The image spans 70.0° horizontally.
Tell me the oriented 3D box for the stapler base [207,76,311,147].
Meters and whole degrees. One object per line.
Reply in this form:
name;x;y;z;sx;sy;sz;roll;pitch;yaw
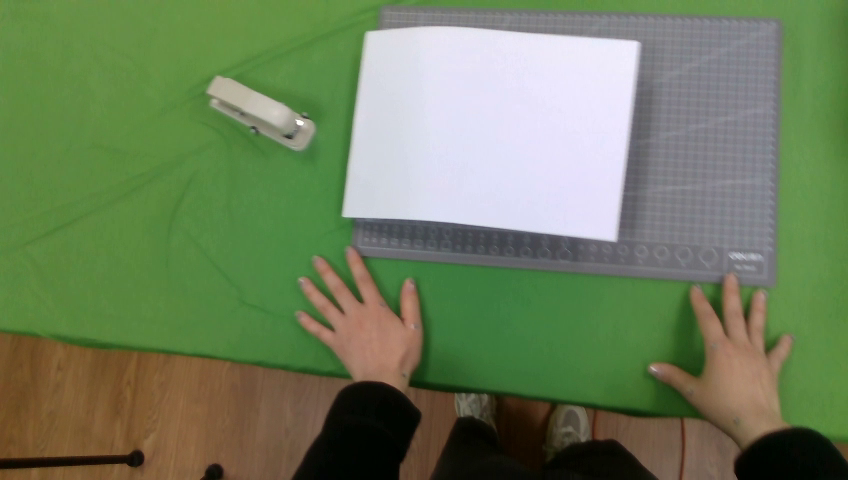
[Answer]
stapler base;-0.194;-0.152;0.702;0.130;0.024;0.041;27;84;10

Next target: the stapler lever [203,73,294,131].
stapler lever;-0.199;-0.156;0.679;0.117;0.040;0.027;28;83;9
